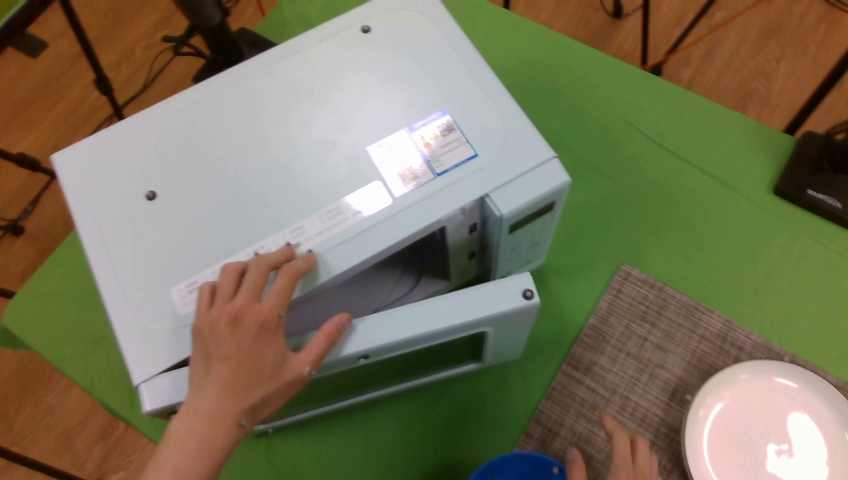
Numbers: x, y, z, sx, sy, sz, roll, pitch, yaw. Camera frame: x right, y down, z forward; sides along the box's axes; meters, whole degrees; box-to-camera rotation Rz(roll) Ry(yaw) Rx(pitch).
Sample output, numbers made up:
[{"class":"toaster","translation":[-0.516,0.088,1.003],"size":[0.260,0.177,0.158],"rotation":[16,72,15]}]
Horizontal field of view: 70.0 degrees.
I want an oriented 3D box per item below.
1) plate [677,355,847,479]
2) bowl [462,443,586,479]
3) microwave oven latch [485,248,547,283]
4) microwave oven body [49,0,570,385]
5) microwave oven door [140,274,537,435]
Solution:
[{"class":"plate","translation":[0.391,0.236,0.686],"size":[0.207,0.039,0.206],"rotation":[-1,68,3]},{"class":"bowl","translation":[0.109,0.303,0.663],"size":[0.151,0.077,0.150],"rotation":[-3,68,7]},{"class":"microwave oven latch","translation":[0.117,0.025,0.772],"size":[0.079,0.030,0.030],"rotation":[-27,69,-6]},{"class":"microwave oven body","translation":[-0.117,-0.042,0.710],"size":[0.442,0.262,0.323],"rotation":[-29,70,-7]},{"class":"microwave oven door","translation":[-0.065,0.128,0.633],"size":[0.356,0.245,0.039],"rotation":[-16,67,-2]}]
